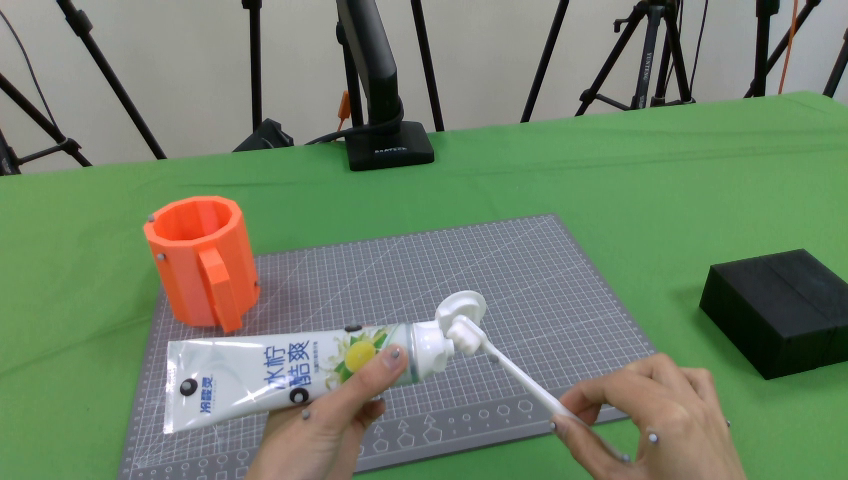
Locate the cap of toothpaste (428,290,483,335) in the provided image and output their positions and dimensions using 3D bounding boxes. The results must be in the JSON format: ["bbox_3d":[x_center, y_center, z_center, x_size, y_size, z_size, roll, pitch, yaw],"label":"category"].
[{"bbox_3d":[0.021,0.047,0.375,0.037,0.037,0.011,-13,36,-15],"label":"cap of toothpaste"}]

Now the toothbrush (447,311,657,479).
[{"bbox_3d":[0.085,0.106,0.362,0.182,0.014,0.016,40,37,1],"label":"toothbrush"}]

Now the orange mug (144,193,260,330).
[{"bbox_3d":[-0.203,0.024,0.573,0.083,0.101,0.125,-20,35,-24],"label":"orange mug"}]

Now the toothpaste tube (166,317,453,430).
[{"bbox_3d":[-0.065,0.069,0.352,0.165,0.035,0.054,-8,58,-6],"label":"toothpaste tube"}]
